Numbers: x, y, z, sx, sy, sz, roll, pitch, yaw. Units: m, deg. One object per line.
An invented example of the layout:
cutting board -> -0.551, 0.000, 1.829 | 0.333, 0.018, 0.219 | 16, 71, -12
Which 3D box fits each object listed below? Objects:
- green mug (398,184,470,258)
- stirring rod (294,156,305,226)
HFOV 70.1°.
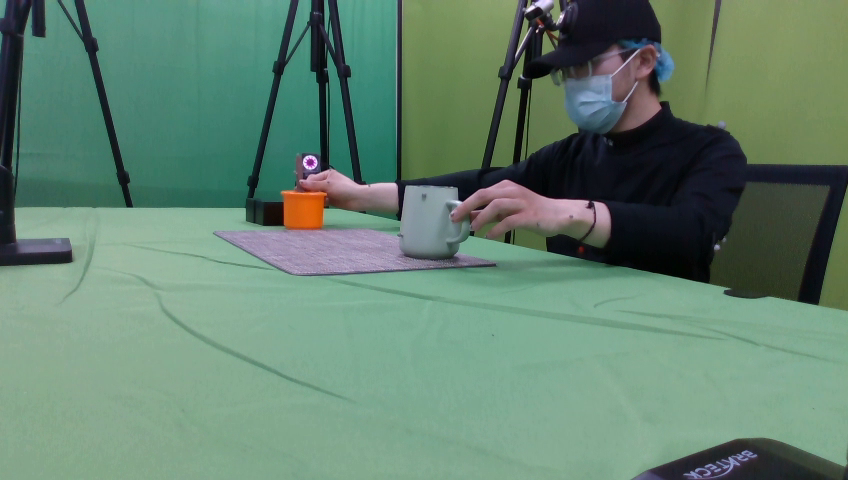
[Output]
green mug -> 0.020, -0.028, 0.890 | 0.093, 0.105, 0.124 | -4, 10, -42
stirring rod -> -0.257, -0.104, 1.250 | 0.014, 0.175, 0.006 | 2, -32, -21
